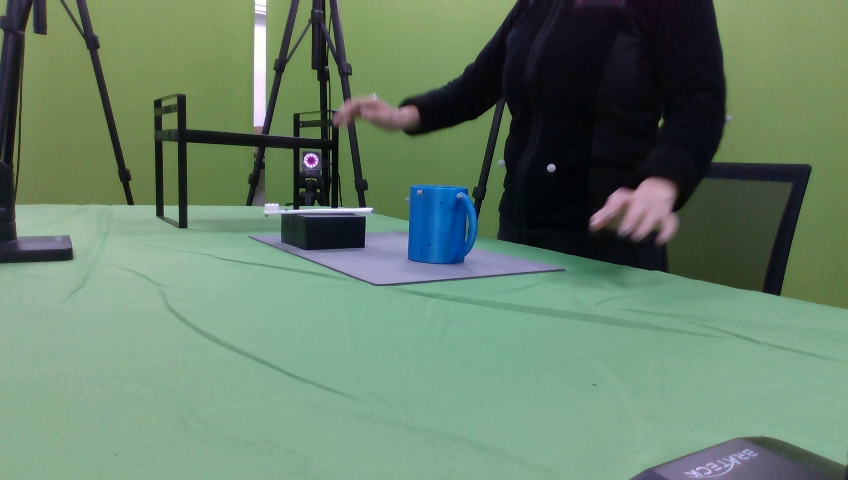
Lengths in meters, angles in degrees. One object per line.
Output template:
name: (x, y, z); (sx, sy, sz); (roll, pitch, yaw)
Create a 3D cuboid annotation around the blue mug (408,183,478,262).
blue mug: (0.031, -0.024, 0.843); (0.083, 0.106, 0.116); (-4, 10, -43)

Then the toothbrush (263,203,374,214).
toothbrush: (-0.160, -0.049, 0.943); (0.183, 0.016, 0.014); (-2, 1, -32)
